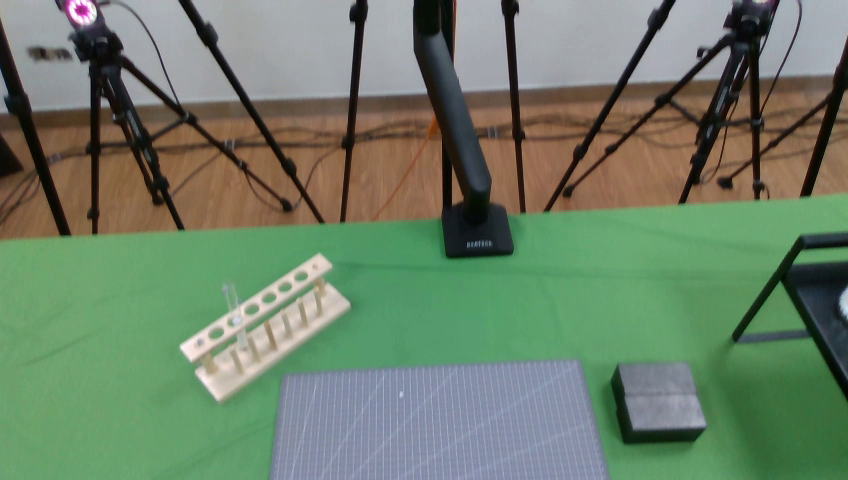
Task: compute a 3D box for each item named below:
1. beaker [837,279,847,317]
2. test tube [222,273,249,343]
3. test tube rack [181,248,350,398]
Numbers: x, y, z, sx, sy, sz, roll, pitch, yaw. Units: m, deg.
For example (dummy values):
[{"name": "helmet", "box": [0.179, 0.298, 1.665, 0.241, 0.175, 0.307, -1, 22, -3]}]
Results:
[{"name": "beaker", "box": [0.554, 0.052, 0.727, 0.074, 0.101, 0.083, -9, 50, -8]}, {"name": "test tube", "box": [-0.268, 0.101, 0.868, 0.017, 0.151, 0.017, 3, 46, -2]}, {"name": "test tube rack", "box": [-0.230, 0.121, 0.915, 0.242, 0.086, 0.066, -36, 58, -26]}]
